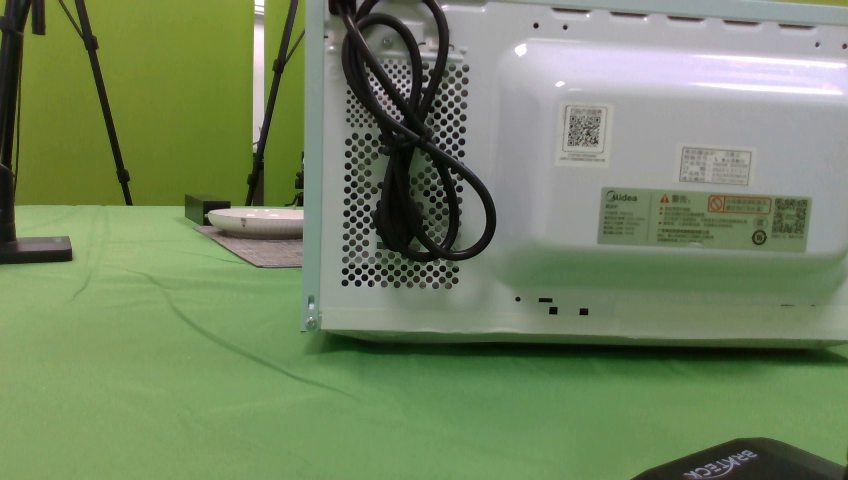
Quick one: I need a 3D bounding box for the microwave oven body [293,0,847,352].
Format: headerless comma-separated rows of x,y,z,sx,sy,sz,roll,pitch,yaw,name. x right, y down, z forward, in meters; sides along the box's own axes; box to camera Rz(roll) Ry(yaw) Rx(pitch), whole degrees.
0.122,-0.055,0.550,0.442,0.260,0.325,3,7,-5,microwave oven body

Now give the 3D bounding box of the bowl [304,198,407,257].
-0.101,-0.019,0.895,0.151,0.077,0.151,2,8,0,bowl

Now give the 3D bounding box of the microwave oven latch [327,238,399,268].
-0.069,0.014,0.694,0.079,0.029,0.030,3,7,-2,microwave oven latch

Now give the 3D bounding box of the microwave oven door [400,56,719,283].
0.155,-0.077,0.698,0.356,0.243,0.039,2,8,-5,microwave oven door

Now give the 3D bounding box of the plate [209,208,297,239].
-0.271,-0.029,1.074,0.208,0.039,0.207,3,7,0,plate
